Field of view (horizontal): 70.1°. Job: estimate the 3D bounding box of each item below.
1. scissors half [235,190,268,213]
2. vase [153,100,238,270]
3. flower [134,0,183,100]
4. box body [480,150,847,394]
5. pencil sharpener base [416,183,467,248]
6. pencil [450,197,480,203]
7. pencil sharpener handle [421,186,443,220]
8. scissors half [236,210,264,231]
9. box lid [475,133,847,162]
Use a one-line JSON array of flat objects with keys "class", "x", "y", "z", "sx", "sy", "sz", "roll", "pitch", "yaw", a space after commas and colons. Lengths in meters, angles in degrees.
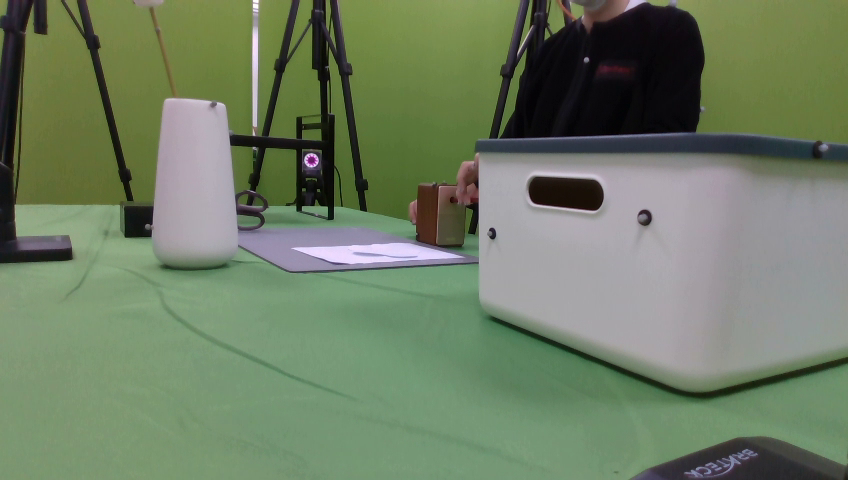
[{"class": "scissors half", "x": -0.363, "y": -0.070, "z": 1.060, "sx": 0.176, "sy": 0.040, "sz": 0.013, "roll": 0, "pitch": 16, "yaw": -23}, {"class": "vase", "x": -0.278, "y": -0.066, "z": 0.736, "sx": 0.098, "sy": 0.200, "sz": 0.098, "roll": 2, "pitch": 9, "yaw": 0}, {"class": "flower", "x": -0.282, "y": -0.147, "z": 0.713, "sx": 0.038, "sy": 0.362, "sz": 0.044, "roll": -23, "pitch": 24, "yaw": -31}, {"class": "box body", "x": 0.254, "y": 0.002, "z": 0.539, "sx": 0.366, "sy": 0.160, "sz": 0.253, "roll": -2, "pitch": 8, "yaw": -31}, {"class": "pencil sharpener base", "x": 0.028, "y": -0.044, "z": 1.043, "sx": 0.061, "sy": 0.107, "sz": 0.076, "roll": -2, "pitch": 8, "yaw": -30}, {"class": "pencil", "x": 0.086, "y": -0.062, "z": 0.949, "sx": 0.012, "sy": 0.012, "sz": 0.193, "roll": -2, "pitch": 5, "yaw": -32}, {"class": "pencil sharpener handle", "x": 0.011, "y": -0.066, "z": 1.089, "sx": 0.036, "sy": 0.068, "sz": 0.030, "roll": -38, "pitch": 24, "yaw": -20}, {"class": "scissors half", "x": -0.369, "y": -0.051, "z": 1.064, "sx": 0.176, "sy": 0.040, "sz": 0.012, "roll": 19, "pitch": 13, "yaw": -27}, {"class": "box lid", "x": 0.255, "y": -0.073, "z": 0.528, "sx": 0.373, "sy": 0.015, "sz": 0.262, "roll": -2, "pitch": 8, "yaw": -31}]
